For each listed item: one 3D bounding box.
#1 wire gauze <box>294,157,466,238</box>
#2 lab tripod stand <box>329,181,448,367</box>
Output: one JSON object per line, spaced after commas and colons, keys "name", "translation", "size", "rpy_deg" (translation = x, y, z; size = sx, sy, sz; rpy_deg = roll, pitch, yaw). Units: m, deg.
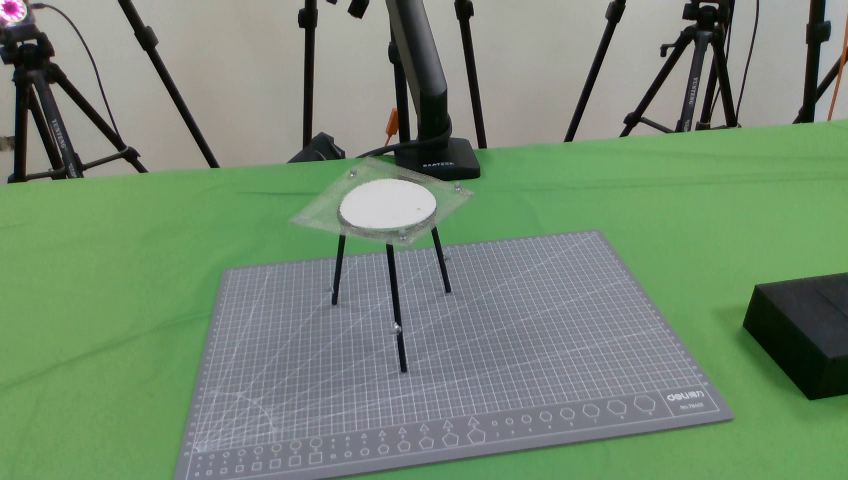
{"name": "wire gauze", "translation": [-0.032, -0.043, 0.524], "size": [0.125, 0.011, 0.120], "rpy_deg": [11, 31, 5]}
{"name": "lab tripod stand", "translation": [-0.032, 0.024, 0.573], "size": [0.148, 0.132, 0.147], "rpy_deg": [0, 34, 0]}
